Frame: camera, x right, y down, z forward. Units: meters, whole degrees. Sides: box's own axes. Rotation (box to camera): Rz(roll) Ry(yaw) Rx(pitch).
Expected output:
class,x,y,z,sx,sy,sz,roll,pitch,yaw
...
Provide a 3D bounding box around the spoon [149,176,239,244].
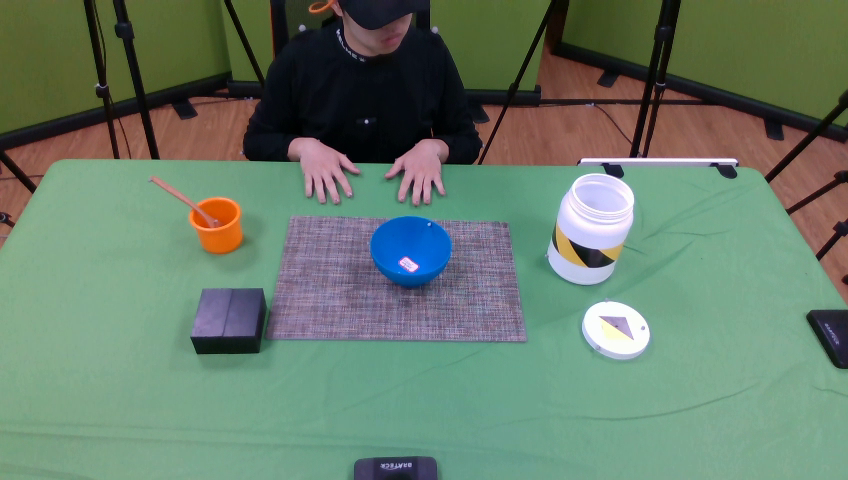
class,x,y,z,sx,sy,sz,roll,pitch,yaw
spoon,-0.427,-0.057,1.132,0.021,0.195,0.041,-27,31,34

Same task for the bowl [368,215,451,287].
class,x,y,z,sx,sy,sz,roll,pitch,yaw
bowl,-0.028,0.033,1.120,0.151,0.077,0.150,2,46,-2

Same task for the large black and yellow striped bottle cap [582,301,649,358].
class,x,y,z,sx,sy,sz,roll,pitch,yaw
large black and yellow striped bottle cap,0.340,0.157,1.077,0.115,0.019,0.114,1,47,-1

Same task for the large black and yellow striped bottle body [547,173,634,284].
class,x,y,z,sx,sy,sz,roll,pitch,yaw
large black and yellow striped bottle body,0.309,-0.022,1.129,0.131,0.185,0.130,2,46,-2
